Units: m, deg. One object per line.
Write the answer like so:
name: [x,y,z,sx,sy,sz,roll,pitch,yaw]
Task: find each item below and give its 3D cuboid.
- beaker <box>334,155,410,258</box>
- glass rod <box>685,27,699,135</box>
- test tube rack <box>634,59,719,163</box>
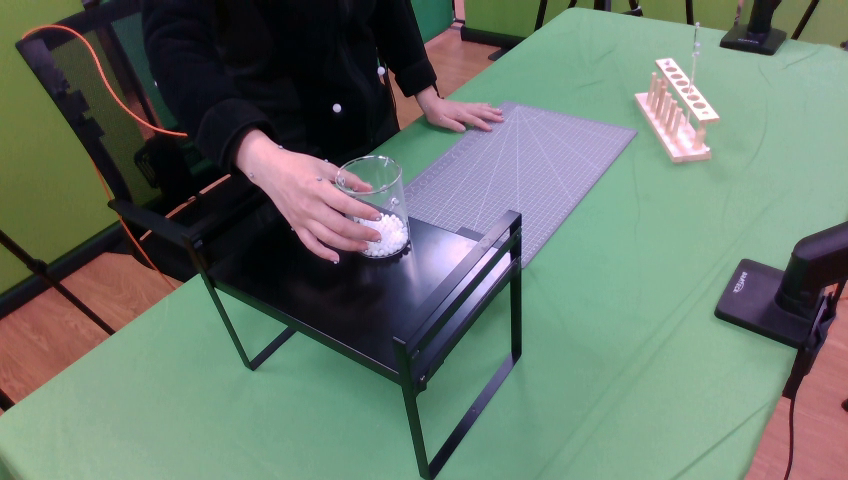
beaker: [-0.054,-0.037,0.689,0.073,0.101,0.084,13,44,22]
glass rod: [0.478,-0.279,1.078,0.008,0.200,0.008,-7,34,5]
test tube rack: [0.470,-0.250,1.148,0.067,0.085,0.241,-6,40,3]
